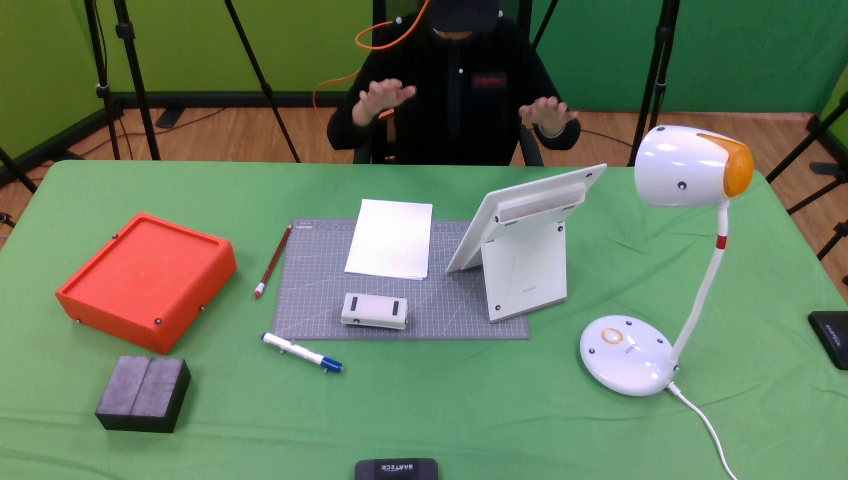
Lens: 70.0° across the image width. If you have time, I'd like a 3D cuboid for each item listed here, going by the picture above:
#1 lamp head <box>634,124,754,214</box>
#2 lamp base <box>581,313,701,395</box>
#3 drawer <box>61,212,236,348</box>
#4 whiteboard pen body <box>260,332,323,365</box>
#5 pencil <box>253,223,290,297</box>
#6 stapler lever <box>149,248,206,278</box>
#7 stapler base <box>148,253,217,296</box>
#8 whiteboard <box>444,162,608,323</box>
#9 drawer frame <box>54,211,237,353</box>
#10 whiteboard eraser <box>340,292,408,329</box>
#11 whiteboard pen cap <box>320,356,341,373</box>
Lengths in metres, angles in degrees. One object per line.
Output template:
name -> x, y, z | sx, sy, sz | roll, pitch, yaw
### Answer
lamp head -> 0.351, -0.089, 0.775 | 0.112, 0.113, 0.122 | -30, 30, -28
lamp base -> 0.361, 0.144, 0.973 | 0.178, 0.181, 0.160 | 34, 53, 23
drawer -> -0.473, 0.064, 1.060 | 0.194, 0.073, 0.211 | 18, 48, 12
whiteboard pen body -> -0.208, 0.184, 1.003 | 0.140, 0.017, 0.017 | 20, 48, 12
pencil -> -0.286, 0.033, 1.150 | 0.012, 0.012, 0.193 | 9, 46, 4
stapler lever -> -0.442, 0.037, 1.084 | 0.118, 0.040, 0.027 | 19, 49, 17
stapler base -> -0.443, 0.059, 1.109 | 0.130, 0.024, 0.041 | 24, 50, 11
whiteboard -> 0.186, 0.026, 1.028 | 0.217, 0.306, 0.143 | -14, 68, -18
drawer frame -> -0.473, 0.067, 1.055 | 0.201, 0.083, 0.212 | 17, 48, 11
whiteboard eraser -> -0.087, 0.125, 1.052 | 0.113, 0.042, 0.055 | 5, 45, 1
whiteboard pen cap -> -0.154, 0.203, 0.992 | 0.033, 0.018, 0.018 | 21, 48, 12
